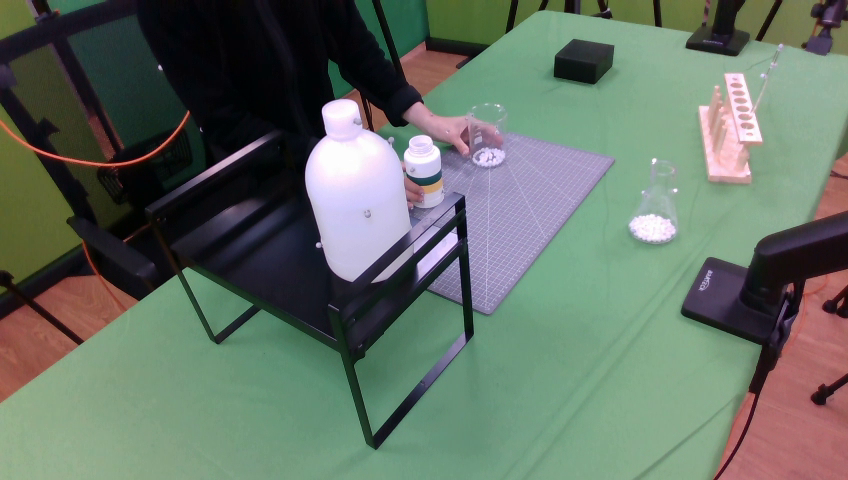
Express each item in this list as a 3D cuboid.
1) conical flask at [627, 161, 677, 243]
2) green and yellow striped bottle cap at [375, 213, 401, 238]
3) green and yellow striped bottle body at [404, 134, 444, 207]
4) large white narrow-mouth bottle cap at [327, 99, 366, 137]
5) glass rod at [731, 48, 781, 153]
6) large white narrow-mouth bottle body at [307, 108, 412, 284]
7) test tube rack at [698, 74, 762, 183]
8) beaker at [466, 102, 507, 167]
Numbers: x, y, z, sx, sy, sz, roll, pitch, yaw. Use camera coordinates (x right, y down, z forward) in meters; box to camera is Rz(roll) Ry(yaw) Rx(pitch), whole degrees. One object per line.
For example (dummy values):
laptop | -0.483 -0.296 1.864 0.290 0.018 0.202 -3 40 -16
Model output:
conical flask | 0.355 -0.061 0.921 0.075 0.122 0.075 -4 41 4
green and yellow striped bottle cap | -0.061 -0.025 1.016 0.045 0.020 0.045 -2 42 2
green and yellow striped bottle body | 0.000 -0.121 1.037 0.063 0.120 0.063 -4 41 4
large white narrow-mouth bottle cap | -0.075 -0.118 0.582 0.038 0.024 0.037 -3 40 3
glass rod | 0.554 -0.228 1.014 0.008 0.200 0.008 1 44 -1
large white narrow-mouth bottle body | -0.070 -0.051 0.637 0.102 0.195 0.101 -3 40 3
test tube rack | 0.547 -0.208 1.095 0.066 0.085 0.242 5 42 15
beaker | 0.121 -0.195 1.124 0.084 0.100 0.073 -34 48 -28
